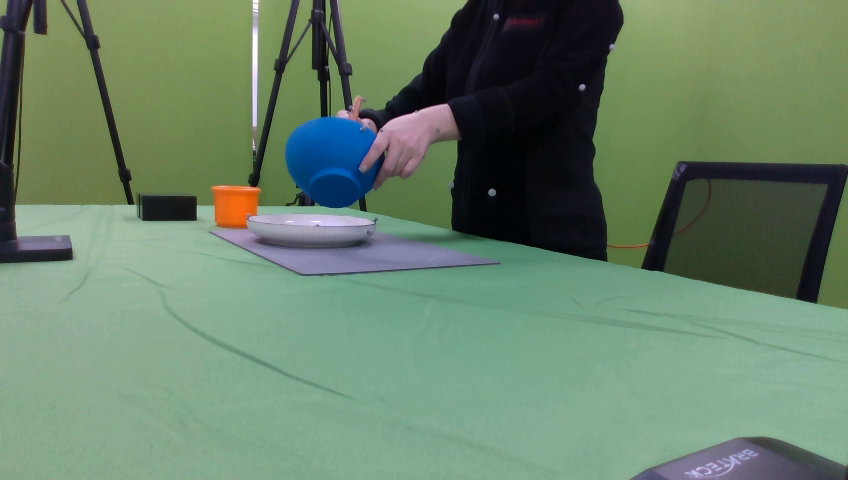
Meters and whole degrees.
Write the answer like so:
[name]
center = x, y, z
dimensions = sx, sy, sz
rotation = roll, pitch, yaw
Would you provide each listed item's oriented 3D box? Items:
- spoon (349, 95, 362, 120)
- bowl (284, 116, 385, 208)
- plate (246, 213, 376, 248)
[spoon]
center = -0.125, -0.157, 0.973
dimensions = 0.041, 0.193, 0.021
rotation = 8, -30, 1
[bowl]
center = -0.132, -0.100, 0.889
dimensions = 0.152, 0.151, 0.076
rotation = 1, 51, -7
[plate]
center = -0.185, -0.017, 0.994
dimensions = 0.209, 0.038, 0.209
rotation = 3, 8, 0
